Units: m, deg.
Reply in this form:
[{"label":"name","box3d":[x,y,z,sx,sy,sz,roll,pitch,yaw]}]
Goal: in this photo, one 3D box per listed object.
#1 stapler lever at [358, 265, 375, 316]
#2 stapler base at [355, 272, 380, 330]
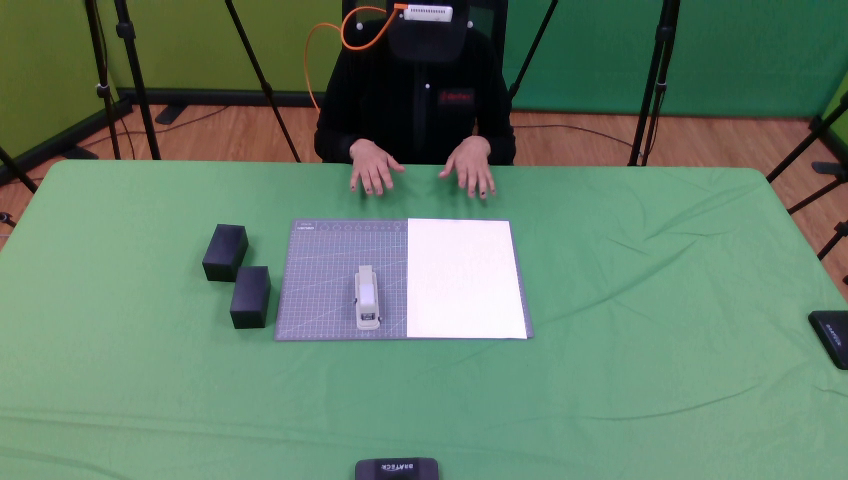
[{"label":"stapler lever","box3d":[-0.102,0.083,1.070,0.027,0.040,0.117,-1,44,-8]},{"label":"stapler base","box3d":[-0.103,0.102,1.087,0.041,0.024,0.129,-1,45,-8]}]
